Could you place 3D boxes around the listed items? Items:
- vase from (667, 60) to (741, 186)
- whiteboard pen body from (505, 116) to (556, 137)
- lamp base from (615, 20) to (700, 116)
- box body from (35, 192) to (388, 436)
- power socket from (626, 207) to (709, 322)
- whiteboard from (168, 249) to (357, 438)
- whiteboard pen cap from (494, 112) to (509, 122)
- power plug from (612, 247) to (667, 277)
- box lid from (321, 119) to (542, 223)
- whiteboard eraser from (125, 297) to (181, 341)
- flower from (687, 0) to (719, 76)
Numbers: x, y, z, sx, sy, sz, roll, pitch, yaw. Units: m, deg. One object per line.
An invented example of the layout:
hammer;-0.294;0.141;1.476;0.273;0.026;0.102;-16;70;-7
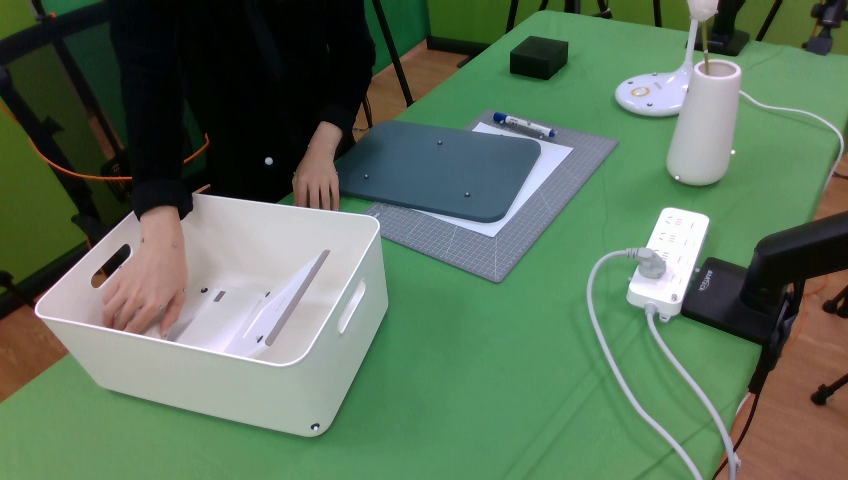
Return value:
vase;0.463;-0.189;0.994;0.098;0.201;0.097;-4;40;4
whiteboard pen body;0.203;-0.232;1.213;0.139;0.017;0.017;27;51;36
lamp base;0.484;-0.364;1.211;0.180;0.181;0.159;-15;41;-14
box body;-0.251;0.088;0.800;0.362;0.161;0.254;7;42;16
power socket;0.360;0.026;0.886;0.072;0.033;0.227;17;46;27
whiteboard;-0.242;0.100;0.799;0.304;0.144;0.217;8;43;15
whiteboard pen cap;0.161;-0.253;1.248;0.033;0.018;0.018;27;51;36
power plug;0.306;0.031;0.852;0.072;0.053;0.035;21;48;37
box lid;0.017;-0.141;1.145;0.369;0.015;0.263;12;44;22
whiteboard eraser;-0.372;0.130;0.814;0.055;0.042;0.112;2;46;0
flower;0.436;-0.242;0.934;0.038;0.364;0.043;-24;49;8
